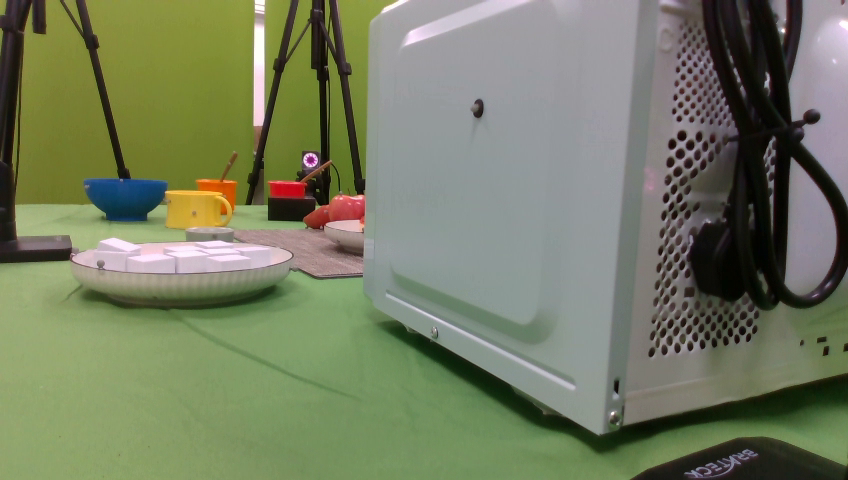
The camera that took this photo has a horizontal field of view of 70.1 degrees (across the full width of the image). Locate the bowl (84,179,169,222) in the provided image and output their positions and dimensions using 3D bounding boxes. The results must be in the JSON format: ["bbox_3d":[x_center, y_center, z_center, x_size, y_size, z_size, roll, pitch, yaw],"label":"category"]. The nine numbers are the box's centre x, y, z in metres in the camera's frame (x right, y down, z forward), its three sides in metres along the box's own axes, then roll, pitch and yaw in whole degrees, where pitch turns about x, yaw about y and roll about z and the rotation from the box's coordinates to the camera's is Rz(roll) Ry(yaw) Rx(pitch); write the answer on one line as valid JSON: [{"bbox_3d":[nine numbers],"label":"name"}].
[{"bbox_3d":[-0.584,-0.078,1.194,0.151,0.077,0.151,3,8,0],"label":"bowl"}]

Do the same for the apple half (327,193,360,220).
[{"bbox_3d":[-0.132,-0.047,1.087,0.081,0.074,0.053,4,11,-14],"label":"apple half"}]

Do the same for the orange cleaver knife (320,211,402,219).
[{"bbox_3d":[-0.142,-0.057,1.394,0.077,0.012,0.212,3,7,44],"label":"orange cleaver knife"}]

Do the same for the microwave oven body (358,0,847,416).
[{"bbox_3d":[0.211,-0.047,0.475,0.444,0.260,0.324,-1,7,-28],"label":"microwave oven body"}]

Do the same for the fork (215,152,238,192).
[{"bbox_3d":[-0.455,-0.132,1.367,0.028,0.018,0.207,-3,-34,-38],"label":"fork"}]

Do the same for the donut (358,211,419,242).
[{"bbox_3d":[-0.056,-0.020,0.954,0.099,0.048,0.099,4,7,0],"label":"donut"}]

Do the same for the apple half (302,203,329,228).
[{"bbox_3d":[-0.192,-0.043,1.169,0.081,0.032,0.081,-23,-12,-5],"label":"apple half"}]

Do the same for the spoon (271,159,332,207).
[{"bbox_3d":[-0.307,-0.142,1.514,0.193,0.021,0.041,-41,4,8],"label":"spoon"}]

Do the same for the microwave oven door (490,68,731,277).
[{"bbox_3d":[0.230,-0.098,0.834,0.039,0.243,0.354,-3,9,-37],"label":"microwave oven door"}]

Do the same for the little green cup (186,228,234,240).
[{"bbox_3d":[-0.284,0.005,0.805,0.061,0.038,0.061,2,8,0],"label":"little green cup"}]

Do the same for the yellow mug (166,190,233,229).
[{"bbox_3d":[-0.415,-0.057,1.132,0.130,0.064,0.100,6,8,16],"label":"yellow mug"}]

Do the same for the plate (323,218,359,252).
[{"bbox_3d":[-0.052,-0.006,0.938,0.209,0.038,0.209,3,8,0],"label":"plate"}]

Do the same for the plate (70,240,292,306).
[{"bbox_3d":[-0.242,0.032,0.618,0.208,0.039,0.207,2,8,0],"label":"plate"}]

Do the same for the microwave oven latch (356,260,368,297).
[{"bbox_3d":[-0.020,0.033,0.530,0.079,0.029,0.030,-1,7,-27],"label":"microwave oven latch"}]
